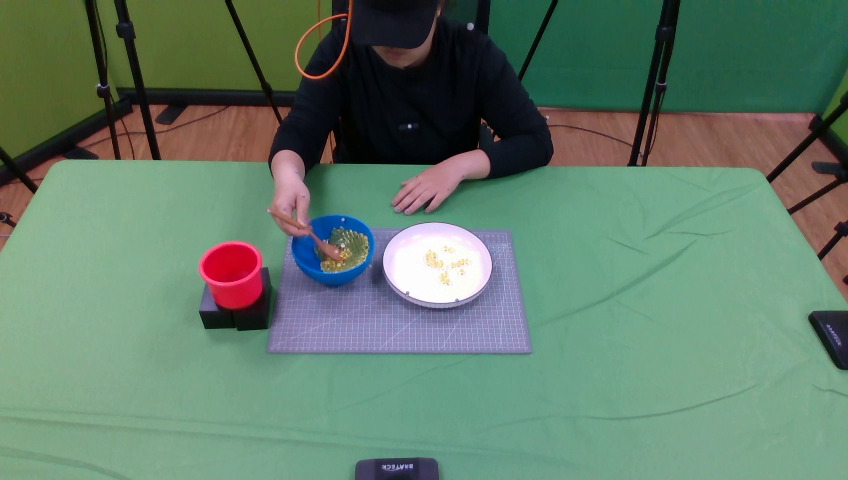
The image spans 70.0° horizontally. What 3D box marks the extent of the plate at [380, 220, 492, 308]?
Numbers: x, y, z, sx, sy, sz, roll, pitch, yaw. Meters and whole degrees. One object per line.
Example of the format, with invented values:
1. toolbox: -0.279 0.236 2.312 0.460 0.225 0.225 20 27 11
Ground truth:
1. plate: 0.022 0.048 1.138 0.208 0.039 0.206 2 46 -2

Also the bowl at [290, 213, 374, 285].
1. bowl: -0.166 0.030 1.113 0.151 0.077 0.150 2 46 -2

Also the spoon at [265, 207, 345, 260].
1. spoon: -0.207 -0.013 1.072 0.021 0.195 0.041 -36 46 11
